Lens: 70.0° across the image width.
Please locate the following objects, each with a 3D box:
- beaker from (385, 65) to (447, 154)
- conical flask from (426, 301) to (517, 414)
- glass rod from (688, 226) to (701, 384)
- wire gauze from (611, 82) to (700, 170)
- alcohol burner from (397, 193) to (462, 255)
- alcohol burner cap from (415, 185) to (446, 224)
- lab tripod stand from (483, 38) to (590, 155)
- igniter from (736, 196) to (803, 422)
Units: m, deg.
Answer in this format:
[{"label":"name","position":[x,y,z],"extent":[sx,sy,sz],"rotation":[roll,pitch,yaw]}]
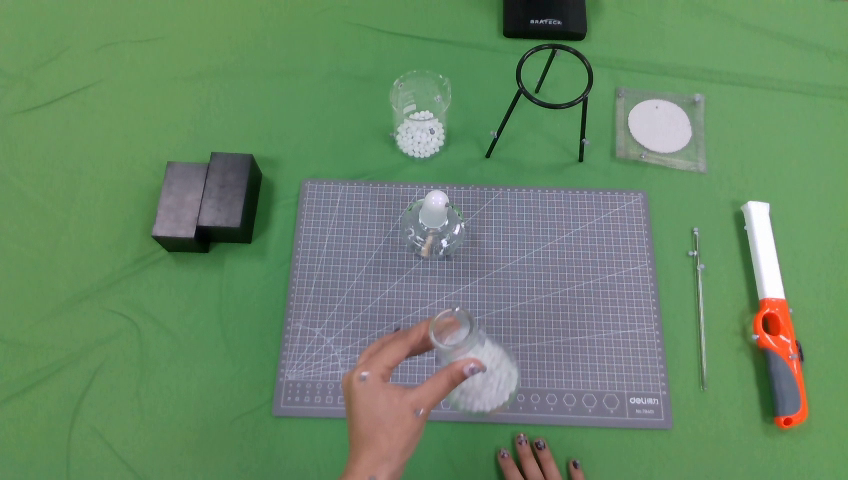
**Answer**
[{"label":"beaker","position":[-0.007,-0.163,0.772],"extent":[0.084,0.101,0.073],"rotation":[-37,74,-14]},{"label":"conical flask","position":[0.034,0.095,0.514],"extent":[0.075,0.123,0.074],"rotation":[-8,57,13]},{"label":"glass rod","position":[0.328,0.074,0.735],"extent":[0.008,0.008,0.198],"rotation":[7,69,1]},{"label":"wire gauze","position":[0.316,-0.160,0.826],"extent":[0.125,0.011,0.120],"rotation":[9,70,0]},{"label":"alcohol burner","position":[0.007,-0.027,0.709],"extent":[0.078,0.120,0.077],"rotation":[1,68,-2]},{"label":"alcohol burner cap","position":[0.009,-0.043,0.676],"extent":[0.034,0.048,0.033],"rotation":[4,62,-8]},{"label":"lab tripod stand","position":[0.144,-0.171,0.759],"extent":[0.148,0.132,0.147],"rotation":[0,71,0]},{"label":"igniter","position":[0.412,0.076,0.726],"extent":[0.057,0.025,0.274],"rotation":[6,69,-10]}]
